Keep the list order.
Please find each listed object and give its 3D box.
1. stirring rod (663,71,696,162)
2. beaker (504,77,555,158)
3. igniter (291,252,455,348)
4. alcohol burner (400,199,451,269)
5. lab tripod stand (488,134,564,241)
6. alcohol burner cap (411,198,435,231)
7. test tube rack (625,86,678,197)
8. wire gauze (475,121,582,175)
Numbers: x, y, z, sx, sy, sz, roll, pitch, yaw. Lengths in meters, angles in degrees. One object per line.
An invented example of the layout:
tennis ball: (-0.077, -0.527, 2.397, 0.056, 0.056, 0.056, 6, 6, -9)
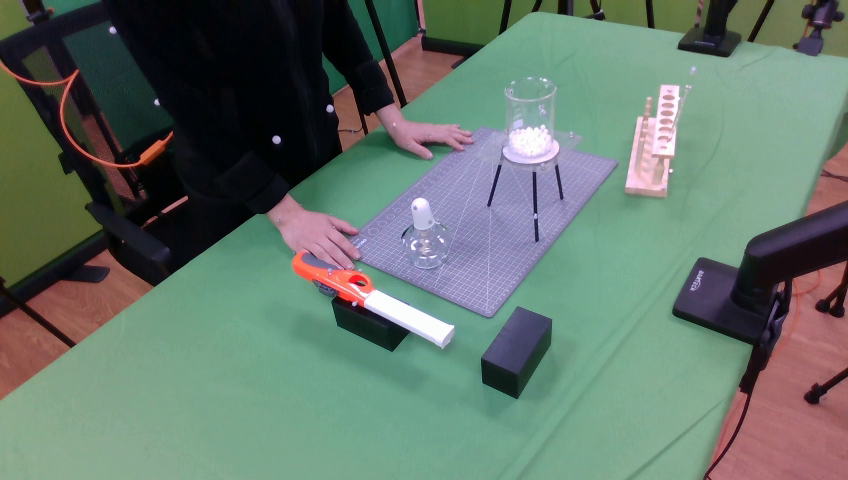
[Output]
stirring rod: (0.410, -0.195, 0.981, 0.014, 0.177, 0.006, 12, 50, 14)
beaker: (0.160, -0.181, 0.900, 0.084, 0.101, 0.073, -33, 46, -27)
igniter: (-0.081, 0.076, 0.822, 0.274, 0.025, 0.057, 23, 45, 27)
alcohol burner: (0.000, -0.013, 0.917, 0.078, 0.119, 0.077, -5, 41, 5)
lab tripod stand: (0.168, -0.092, 0.972, 0.148, 0.132, 0.147, -5, 41, 5)
alcohol burner cap: (-0.003, -0.041, 0.893, 0.034, 0.048, 0.033, -7, 41, 7)
test tube rack: (0.411, -0.184, 1.088, 0.066, 0.085, 0.242, 9, 43, 18)
wire gauze: (0.161, -0.142, 0.929, 0.120, 0.011, 0.125, 19, 49, 32)
